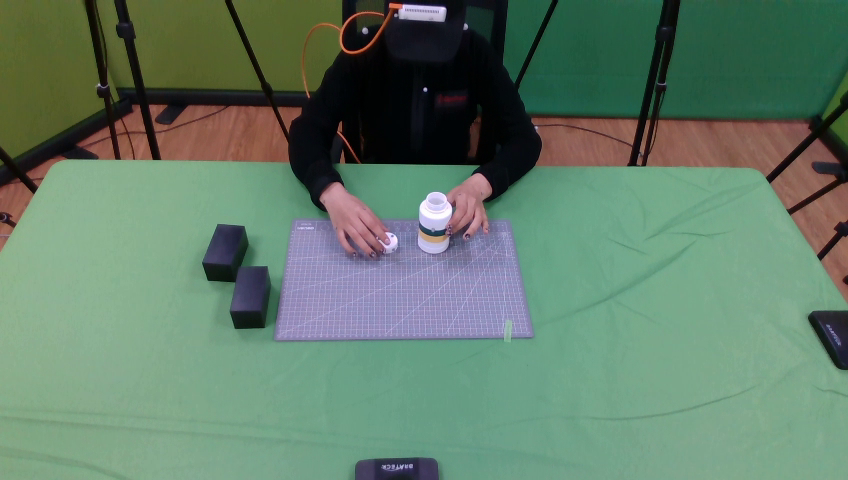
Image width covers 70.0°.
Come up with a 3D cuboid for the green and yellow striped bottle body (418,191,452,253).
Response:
[{"bbox_3d":[0.022,-0.036,1.160,0.063,0.120,0.063,2,46,-2],"label":"green and yellow striped bottle body"}]

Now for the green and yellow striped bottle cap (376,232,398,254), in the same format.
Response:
[{"bbox_3d":[-0.073,0.006,1.187,0.045,0.020,0.045,1,45,-1],"label":"green and yellow striped bottle cap"}]
